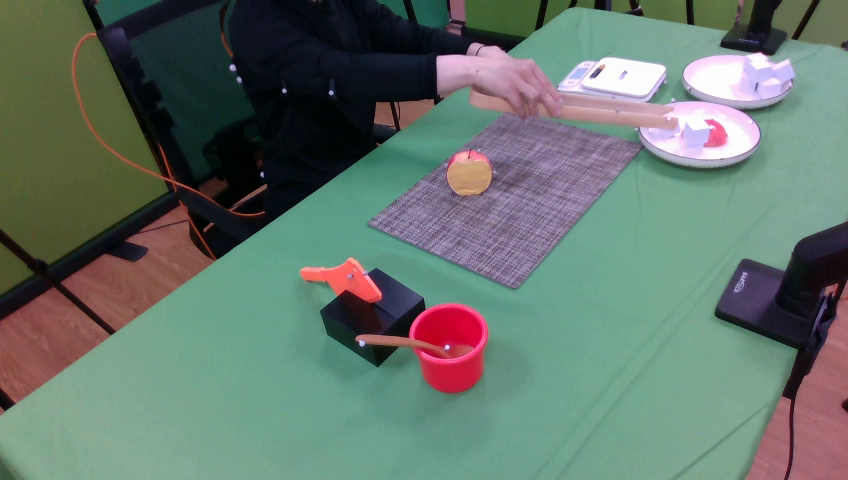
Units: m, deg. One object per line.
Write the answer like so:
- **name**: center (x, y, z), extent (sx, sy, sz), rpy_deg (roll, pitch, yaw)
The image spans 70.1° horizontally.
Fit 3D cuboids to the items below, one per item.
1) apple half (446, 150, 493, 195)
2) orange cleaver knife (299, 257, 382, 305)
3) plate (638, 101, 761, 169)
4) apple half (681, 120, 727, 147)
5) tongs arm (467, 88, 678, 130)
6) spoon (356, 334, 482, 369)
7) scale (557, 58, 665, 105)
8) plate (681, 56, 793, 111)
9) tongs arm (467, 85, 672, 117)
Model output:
- **apple half**: center (0.080, -0.124, 1.065), extent (0.081, 0.075, 0.053), rpy_deg (-7, 37, 7)
- **orange cleaver knife**: center (-0.124, 0.062, 0.872), extent (0.012, 0.077, 0.210), rpy_deg (-38, 17, -30)
- **plate**: center (0.500, -0.189, 1.111), extent (0.209, 0.038, 0.208), rpy_deg (-4, 41, 4)
- **apple half**: center (0.518, -0.202, 1.115), extent (0.081, 0.033, 0.081), rpy_deg (-1, 40, 2)
- **tongs arm**: center (0.272, -0.239, 1.108), extent (0.386, 0.026, 0.050), rpy_deg (4, 36, -6)
- **spoon**: center (-0.002, 0.130, 0.731), extent (0.195, 0.021, 0.041), rpy_deg (21, 28, -39)
- **scale**: center (0.406, -0.348, 1.314), extent (0.199, 0.032, 0.149), rpy_deg (19, 47, 28)
- **plate**: center (0.636, -0.317, 1.239), extent (0.207, 0.039, 0.206), rpy_deg (-4, 40, 4)
- **tongs arm**: center (0.273, -0.254, 1.129), extent (0.388, 0.028, 0.028), rpy_deg (6, 40, -3)
